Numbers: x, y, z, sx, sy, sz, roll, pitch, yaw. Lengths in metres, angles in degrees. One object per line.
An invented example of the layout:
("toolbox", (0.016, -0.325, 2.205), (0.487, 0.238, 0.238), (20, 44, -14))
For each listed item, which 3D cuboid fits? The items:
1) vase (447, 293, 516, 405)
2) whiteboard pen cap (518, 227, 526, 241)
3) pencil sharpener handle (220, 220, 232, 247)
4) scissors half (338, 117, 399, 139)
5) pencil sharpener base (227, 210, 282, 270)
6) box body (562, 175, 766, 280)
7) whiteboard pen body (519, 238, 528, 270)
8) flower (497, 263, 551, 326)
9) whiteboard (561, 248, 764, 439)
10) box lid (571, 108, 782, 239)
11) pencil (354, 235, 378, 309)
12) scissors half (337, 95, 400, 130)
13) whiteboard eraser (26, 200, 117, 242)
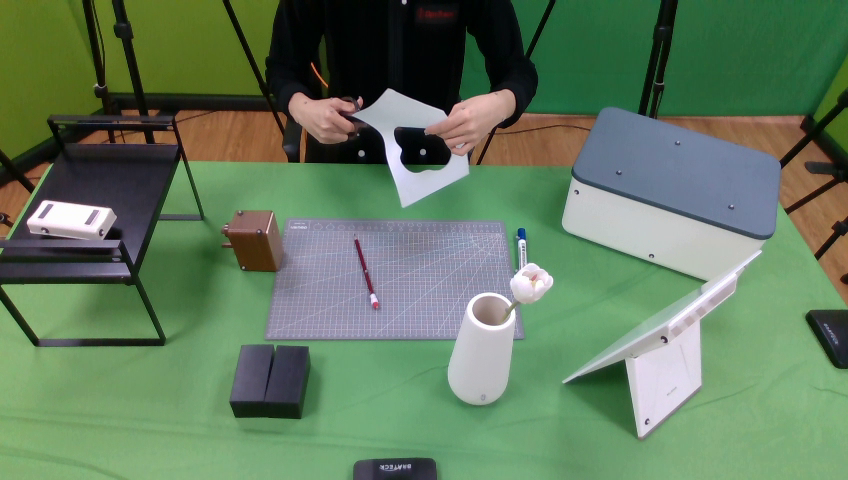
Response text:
("vase", (0.091, 0.169, 0.921), (0.098, 0.201, 0.097), (3, 47, -3))
("whiteboard pen cap", (0.197, -0.009, 1.220), (0.018, 0.018, 0.033), (5, 51, 1))
("pencil sharpener handle", (-0.362, -0.009, 1.105), (0.030, 0.068, 0.036), (1, 52, 1))
("scissors half", (-0.101, -0.203, 1.084), (0.013, 0.040, 0.174), (-18, 16, -39))
("pencil sharpener base", (-0.311, 0.001, 1.112), (0.077, 0.107, 0.061), (1, 47, 1))
("box body", (0.486, -0.088, 1.222), (0.363, 0.161, 0.253), (20, 48, 15))
("whiteboard pen body", (0.193, 0.035, 1.180), (0.017, 0.017, 0.140), (6, 48, 1))
("flower", (0.102, 0.121, 0.852), (0.044, 0.363, 0.038), (-1, 64, -9))
("whiteboard", (0.386, 0.176, 0.905), (0.217, 0.306, 0.143), (-26, 72, -27))
("box lid", (0.491, -0.139, 1.168), (0.370, 0.015, 0.262), (21, 49, 15))
("pencil", (-0.112, 0.055, 1.143), (0.012, 0.012, 0.192), (-10, 46, -13))
("scissors half", (-0.101, -0.223, 1.076), (0.013, 0.040, 0.174), (-24, 41, -37))
("whiteboard eraser", (-0.532, -0.026, 0.919), (0.113, 0.042, 0.055), (7, 45, 3))
